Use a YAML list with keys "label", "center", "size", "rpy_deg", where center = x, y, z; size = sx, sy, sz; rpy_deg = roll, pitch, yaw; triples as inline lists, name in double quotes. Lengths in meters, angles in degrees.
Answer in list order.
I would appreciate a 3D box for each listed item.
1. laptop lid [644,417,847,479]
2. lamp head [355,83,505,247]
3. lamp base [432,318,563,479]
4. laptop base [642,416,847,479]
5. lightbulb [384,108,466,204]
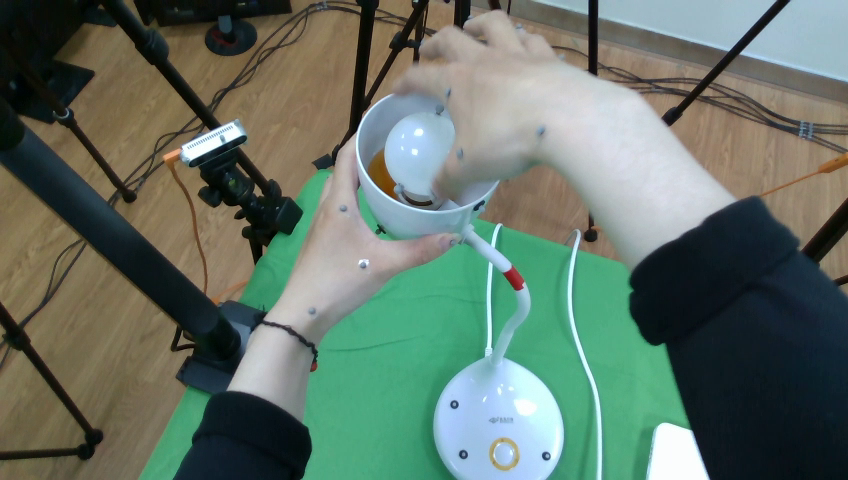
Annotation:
- label: "laptop lid"
  center: [0.412, 0.361, 0.670]
  size: [0.356, 0.013, 0.240]
  rpy_deg: [19, 64, 9]
- label: "lamp head"
  center: [0.002, -0.044, 0.488]
  size: [0.112, 0.124, 0.111]
  rpy_deg: [1, 61, -2]
- label: "lamp base"
  center: [0.088, 0.174, 0.684]
  size: [0.161, 0.182, 0.177]
  rpy_deg: [-10, 59, -7]
- label: "laptop base"
  center: [0.413, 0.365, 0.682]
  size: [0.353, 0.023, 0.234]
  rpy_deg: [17, 65, 8]
- label: "lightbulb"
  center: [-0.001, -0.057, 0.462]
  size: [0.059, 0.108, 0.059]
  rpy_deg: [2, 70, -5]
